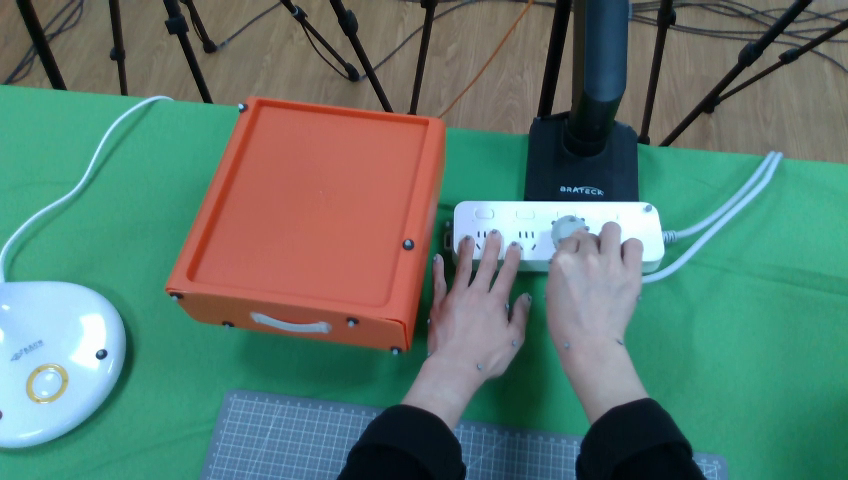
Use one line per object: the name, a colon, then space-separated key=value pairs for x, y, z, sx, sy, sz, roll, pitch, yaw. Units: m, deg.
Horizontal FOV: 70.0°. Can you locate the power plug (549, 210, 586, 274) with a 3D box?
power plug: x=0.135 y=0.005 z=0.581 sx=0.035 sy=0.053 sz=0.072 roll=9 pitch=68 yaw=17

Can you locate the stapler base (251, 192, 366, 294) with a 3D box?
stapler base: x=-0.113 y=0.000 z=0.566 sx=0.129 sy=0.024 sz=0.041 roll=35 pitch=84 yaw=22

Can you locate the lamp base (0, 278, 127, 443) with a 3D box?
lamp base: x=-0.376 y=0.065 z=0.512 sx=0.178 sy=0.182 sz=0.160 roll=37 pitch=68 yaw=23

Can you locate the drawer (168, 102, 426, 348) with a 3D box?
drawer: x=-0.095 y=-0.019 z=0.556 sx=0.194 sy=0.074 sz=0.210 roll=7 pitch=61 yaw=7

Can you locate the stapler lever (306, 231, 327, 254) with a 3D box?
stapler lever: x=-0.122 y=-0.008 z=0.542 sx=0.117 sy=0.040 sz=0.027 roll=35 pitch=84 yaw=23

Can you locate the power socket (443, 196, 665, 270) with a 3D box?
power socket: x=0.132 y=-0.007 z=0.621 sx=0.227 sy=0.033 sz=0.071 roll=1 pitch=62 yaw=2

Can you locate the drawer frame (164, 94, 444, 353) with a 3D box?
drawer frame: x=-0.096 y=-0.021 z=0.557 sx=0.201 sy=0.083 sz=0.212 roll=7 pitch=61 yaw=6
